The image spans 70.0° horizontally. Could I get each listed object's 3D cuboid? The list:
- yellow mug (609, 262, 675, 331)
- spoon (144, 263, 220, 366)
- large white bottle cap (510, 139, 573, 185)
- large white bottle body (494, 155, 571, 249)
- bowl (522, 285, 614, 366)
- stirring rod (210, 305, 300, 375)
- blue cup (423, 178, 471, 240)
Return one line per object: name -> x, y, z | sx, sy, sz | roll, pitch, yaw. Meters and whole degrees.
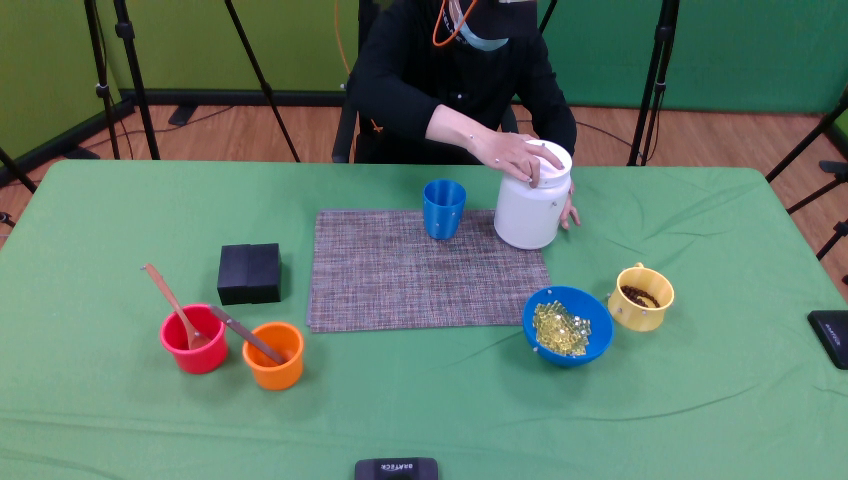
yellow mug -> 0.393, 0.094, 1.103 | 0.100, 0.064, 0.130 | 7, 45, 3
spoon -> -0.389, 0.118, 0.971 | 0.041, 0.021, 0.194 | -34, 101, -34
large white bottle cap -> 0.216, -0.145, 1.116 | 0.115, 0.018, 0.114 | 1, 47, -1
large white bottle body -> 0.211, -0.087, 1.177 | 0.131, 0.185, 0.130 | 2, 46, -2
bowl -> 0.235, 0.158, 1.022 | 0.151, 0.077, 0.150 | 2, 46, -2
stirring rod -> -0.261, 0.158, 0.946 | 0.177, 0.006, 0.014 | 43, 44, -21
blue cup -> 0.036, -0.056, 1.192 | 0.093, 0.101, 0.092 | 3, 45, -3
